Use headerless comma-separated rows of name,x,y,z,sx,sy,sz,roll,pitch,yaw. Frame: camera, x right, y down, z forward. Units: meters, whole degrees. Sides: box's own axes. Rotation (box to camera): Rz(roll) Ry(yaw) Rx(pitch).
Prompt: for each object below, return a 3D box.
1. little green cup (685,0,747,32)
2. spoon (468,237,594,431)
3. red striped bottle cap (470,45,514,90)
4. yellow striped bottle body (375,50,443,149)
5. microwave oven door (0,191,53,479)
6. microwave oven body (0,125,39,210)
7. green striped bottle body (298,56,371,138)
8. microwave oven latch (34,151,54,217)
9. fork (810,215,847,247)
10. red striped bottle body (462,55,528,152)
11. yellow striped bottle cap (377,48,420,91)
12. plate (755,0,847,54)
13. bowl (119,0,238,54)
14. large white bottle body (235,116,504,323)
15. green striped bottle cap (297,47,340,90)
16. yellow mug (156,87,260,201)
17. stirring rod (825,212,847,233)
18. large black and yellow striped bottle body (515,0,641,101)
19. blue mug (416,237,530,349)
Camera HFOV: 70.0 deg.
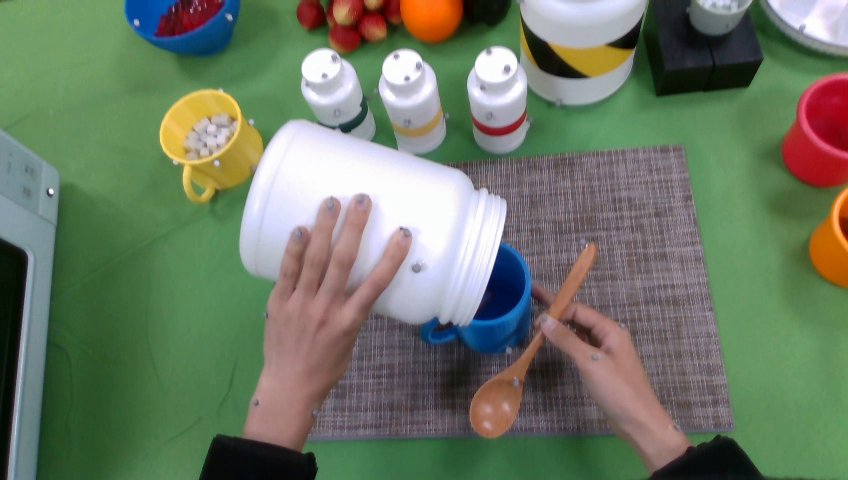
little green cup,0.313,-0.257,0.652,0.061,0.039,0.061,-2,66,5
spoon,0.096,0.083,0.527,0.041,0.021,0.194,31,102,9
red striped bottle cap,0.069,-0.175,0.611,0.044,0.018,0.044,-2,67,4
yellow striped bottle body,-0.017,-0.158,0.674,0.063,0.121,0.062,-3,67,8
microwave oven door,-0.449,0.095,0.554,0.039,0.246,0.353,-12,67,4
microwave oven body,-0.598,0.089,0.584,0.326,0.262,0.438,-12,68,3
green striped bottle body,-0.102,-0.162,0.689,0.063,0.120,0.062,-3,68,7
microwave oven latch,-0.469,-0.066,0.731,0.030,0.030,0.078,-10,68,4
fork,0.433,0.010,0.521,0.028,0.019,0.205,-41,24,-7
red striped bottle body,0.078,-0.154,0.659,0.063,0.121,0.062,-6,64,13
yellow striped bottle cap,-0.026,-0.177,0.626,0.044,0.019,0.044,-1,63,3
plate,0.483,-0.296,0.698,0.209,0.038,0.207,-3,68,8
bowl,-0.308,-0.302,0.800,0.151,0.077,0.150,-3,68,7
large white bottle body,-0.040,-0.011,0.487,0.185,0.131,0.130,18,71,-3
green striped bottle cap,-0.112,-0.182,0.642,0.044,0.020,0.044,-2,67,6
yellow mug,-0.260,-0.109,0.722,0.100,0.064,0.130,6,70,11
stirring rod,0.404,0.010,0.533,0.014,0.006,0.175,-1,25,6
large black and yellow striped bottle body,0.163,-0.252,0.649,0.130,0.185,0.130,-3,68,8
blue mug,0.045,0.061,0.580,0.116,0.107,0.081,-31,66,-5
